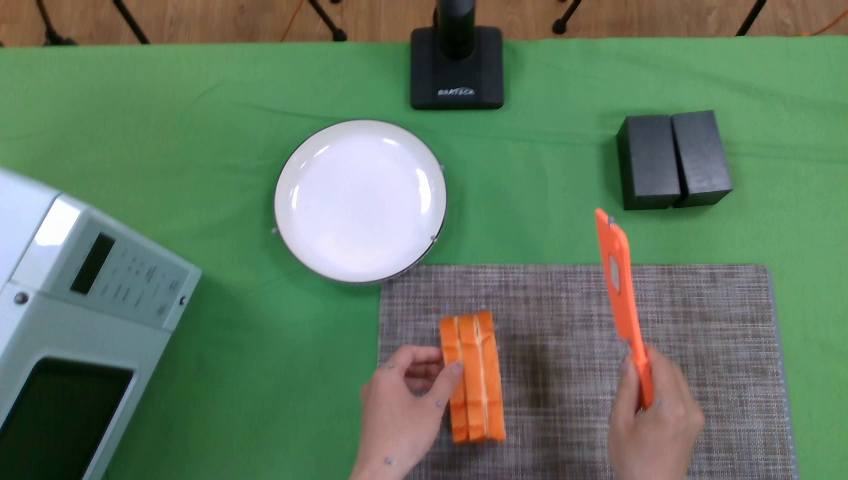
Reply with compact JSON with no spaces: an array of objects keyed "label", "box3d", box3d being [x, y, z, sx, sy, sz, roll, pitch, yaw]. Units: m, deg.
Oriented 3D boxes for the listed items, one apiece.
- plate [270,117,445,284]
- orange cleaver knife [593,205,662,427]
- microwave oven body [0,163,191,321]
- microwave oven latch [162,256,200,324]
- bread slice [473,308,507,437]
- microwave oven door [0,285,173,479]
[{"label":"plate","box3d":[-0.077,-0.046,0.729,0.207,0.039,0.206,0,75,2]},{"label":"orange cleaver knife","box3d":[0.188,0.071,0.567,0.012,0.077,0.212,-16,102,0]},{"label":"microwave oven body","box3d":[-0.492,0.138,0.578,0.325,0.261,0.440,20,77,7]},{"label":"microwave oven latch","box3d":[-0.285,0.055,0.691,0.030,0.029,0.079,22,78,7]},{"label":"bread slice","box3d":[0.068,0.139,0.634,0.018,0.107,0.133,-7,76,2]},{"label":"microwave oven door","box3d":[-0.372,0.224,0.544,0.039,0.245,0.354,20,77,8]}]
